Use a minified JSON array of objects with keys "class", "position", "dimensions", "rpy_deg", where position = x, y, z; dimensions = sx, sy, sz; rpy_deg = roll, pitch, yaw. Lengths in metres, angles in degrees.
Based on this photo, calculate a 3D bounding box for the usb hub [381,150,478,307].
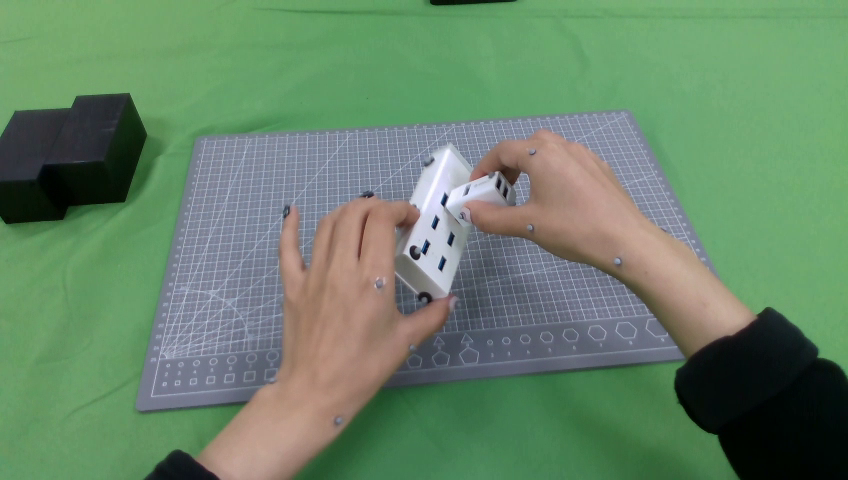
[{"class":"usb hub","position":[0.011,-0.012,0.461],"dimensions":[0.050,0.025,0.124],"rpy_deg":[44,44,-22]}]

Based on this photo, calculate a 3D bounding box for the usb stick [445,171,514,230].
[{"class":"usb stick","position":[0.036,-0.026,0.449],"dimensions":[0.027,0.059,0.021],"rpy_deg":[39,47,-24]}]
